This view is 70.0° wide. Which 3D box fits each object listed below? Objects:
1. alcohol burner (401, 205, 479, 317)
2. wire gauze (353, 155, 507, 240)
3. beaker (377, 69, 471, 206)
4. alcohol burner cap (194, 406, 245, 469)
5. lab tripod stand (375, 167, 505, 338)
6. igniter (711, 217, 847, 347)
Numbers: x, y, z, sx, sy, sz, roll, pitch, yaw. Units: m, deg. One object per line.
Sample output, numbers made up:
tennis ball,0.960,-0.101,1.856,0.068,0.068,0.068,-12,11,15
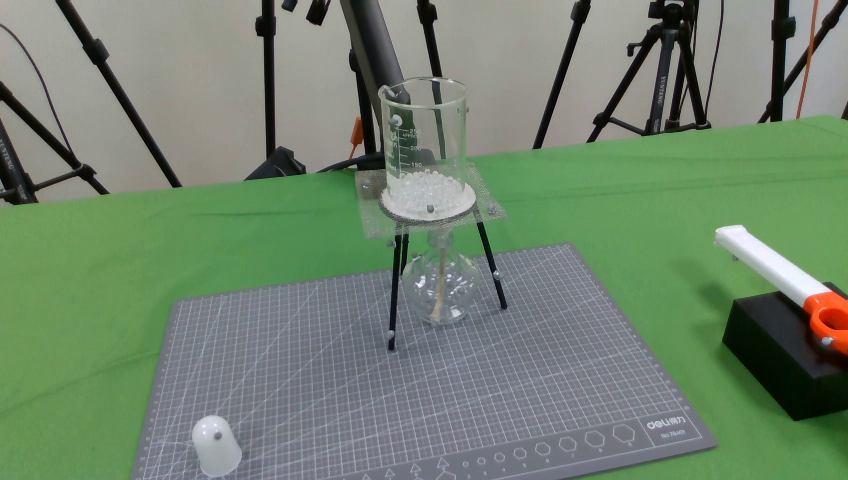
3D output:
alcohol burner,0.016,0.016,0.589,0.078,0.120,0.077,-1,36,1
wire gauze,0.000,-0.046,0.546,0.121,0.011,0.123,-8,36,-7
beaker,-0.002,-0.087,0.520,0.074,0.101,0.083,-30,42,-36
alcohol burner cap,-0.160,0.149,0.468,0.034,0.048,0.033,-1,35,1
lab tripod stand,0.008,0.006,0.586,0.148,0.132,0.147,-1,33,1
igniter,0.340,0.051,0.513,0.057,0.025,0.273,-9,31,-9
